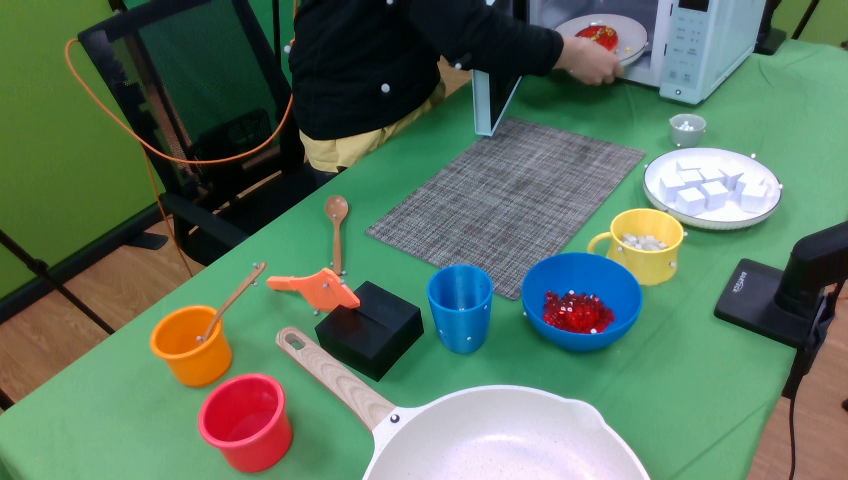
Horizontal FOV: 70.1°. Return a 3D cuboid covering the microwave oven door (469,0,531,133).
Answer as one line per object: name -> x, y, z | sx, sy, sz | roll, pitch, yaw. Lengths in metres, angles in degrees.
microwave oven door -> 0.163, -0.415, 1.231 | 0.039, 0.245, 0.355 | 9, 43, 19

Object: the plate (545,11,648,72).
plate -> 0.361, -0.414, 1.277 | 0.209, 0.038, 0.208 | -7, 47, 8

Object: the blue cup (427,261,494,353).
blue cup -> 0.050, 0.095, 0.792 | 0.092, 0.100, 0.092 | -3, 42, 3

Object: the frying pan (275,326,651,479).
frying pan -> 0.004, 0.229, 0.641 | 0.484, 0.103, 0.308 | 34, 54, 28

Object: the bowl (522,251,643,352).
bowl -> 0.204, 0.093, 0.792 | 0.151, 0.077, 0.150 | -4, 40, 4

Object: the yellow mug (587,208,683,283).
yellow mug -> 0.305, 0.009, 0.884 | 0.131, 0.064, 0.099 | -4, 41, 5

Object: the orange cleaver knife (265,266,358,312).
orange cleaver knife -> -0.165, 0.073, 0.864 | 0.210, 0.077, 0.012 | -6, 31, 50

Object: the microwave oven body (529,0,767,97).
microwave oven body -> 0.473, -0.516, 1.313 | 0.438, 0.261, 0.327 | 26, 51, 34

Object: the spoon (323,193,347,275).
spoon -> -0.148, -0.014, 1.008 | 0.042, 0.021, 0.192 | 4, 39, -12

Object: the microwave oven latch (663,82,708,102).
microwave oven latch -> 0.518, -0.299, 1.202 | 0.078, 0.029, 0.030 | 30, 53, 36

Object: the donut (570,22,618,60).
donut -> 0.356, -0.416, 1.266 | 0.099, 0.048, 0.098 | -10, 50, 13

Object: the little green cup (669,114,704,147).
little green cup -> 0.485, -0.203, 1.123 | 0.061, 0.039, 0.061 | -5, 40, 5

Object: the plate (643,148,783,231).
plate -> 0.464, -0.080, 0.986 | 0.207, 0.039, 0.206 | -4, 41, 4

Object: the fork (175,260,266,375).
fork -> -0.268, 0.103, 0.792 | 0.207, 0.019, 0.028 | -51, 41, 16
